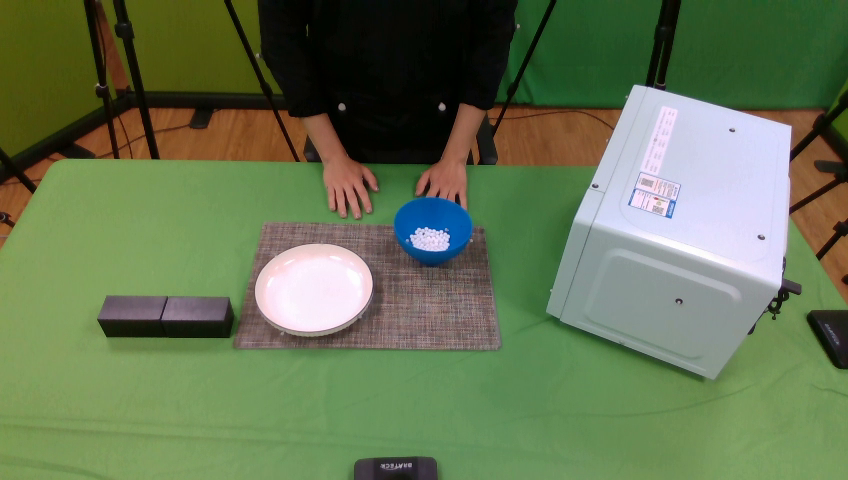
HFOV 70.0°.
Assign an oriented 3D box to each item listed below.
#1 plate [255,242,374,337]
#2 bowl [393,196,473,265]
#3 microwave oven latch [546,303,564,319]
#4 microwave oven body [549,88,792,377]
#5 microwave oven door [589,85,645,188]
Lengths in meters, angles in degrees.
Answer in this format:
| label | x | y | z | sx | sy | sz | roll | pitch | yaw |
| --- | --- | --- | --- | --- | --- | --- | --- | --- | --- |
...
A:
| label | x | y | z | sx | sy | sz | roll | pitch | yaw |
| --- | --- | --- | --- | --- | --- | --- | --- | --- | --- |
| plate | -0.192 | 0.090 | 1.079 | 0.208 | 0.039 | 0.206 | 2 | 46 | -2 |
| bowl | 0.014 | -0.005 | 1.159 | 0.151 | 0.077 | 0.150 | 2 | 46 | -2 |
| microwave oven latch | 0.242 | 0.102 | 1.081 | 0.030 | 0.029 | 0.079 | 21 | 48 | 17 |
| microwave oven body | 0.456 | -0.028 | 1.088 | 0.325 | 0.261 | 0.440 | 20 | 47 | 16 |
| microwave oven door | 0.342 | -0.107 | 1.149 | 0.039 | 0.245 | 0.354 | 20 | 48 | 15 |
